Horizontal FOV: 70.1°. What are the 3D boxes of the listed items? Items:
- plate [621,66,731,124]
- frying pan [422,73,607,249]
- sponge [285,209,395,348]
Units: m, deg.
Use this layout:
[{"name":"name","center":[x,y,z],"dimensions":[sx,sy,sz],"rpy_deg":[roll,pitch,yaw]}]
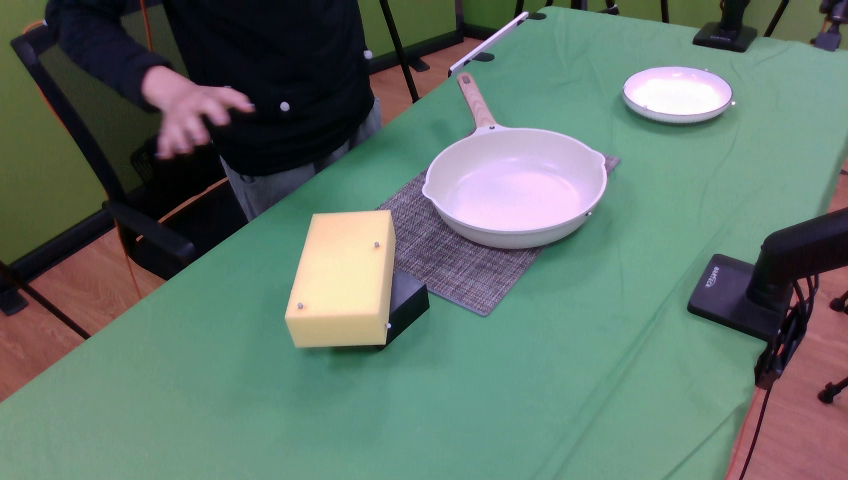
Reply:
[{"name":"plate","center":[0.503,-0.288,1.221],"dimensions":[0.207,0.039,0.206],"rpy_deg":[-4,41,4]},{"name":"frying pan","center":[0.130,-0.161,1.069],"dimensions":[0.307,0.103,0.484],"rpy_deg":[-10,49,-5]},{"name":"sponge","center":[-0.107,0.047,0.823],"dimensions":[0.118,0.061,0.206],"rpy_deg":[-3,41,4]}]
